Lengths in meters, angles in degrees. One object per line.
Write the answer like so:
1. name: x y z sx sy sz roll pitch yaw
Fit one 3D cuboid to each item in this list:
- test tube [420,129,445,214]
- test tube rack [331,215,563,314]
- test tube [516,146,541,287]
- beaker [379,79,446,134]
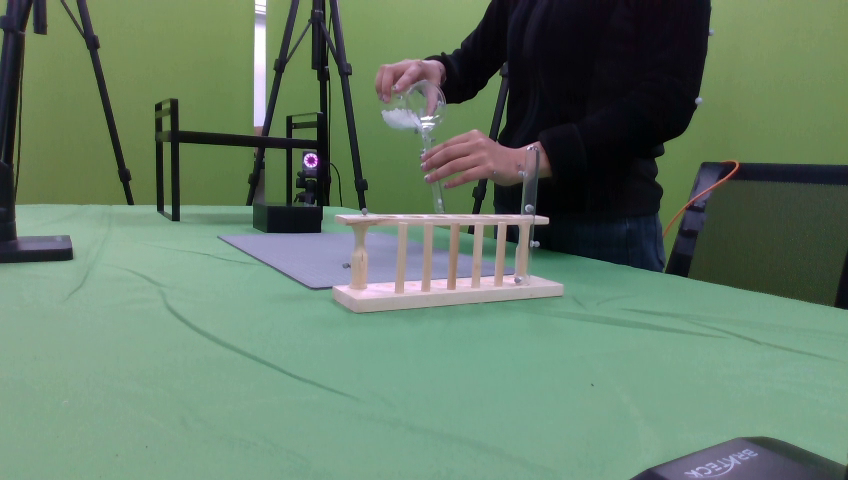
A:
1. test tube: 0.012 -0.105 0.913 0.017 0.150 0.017 -8 -27 -4
2. test tube rack: 0.031 0.019 0.625 0.243 0.085 0.066 -1 8 -28
3. test tube: 0.110 -0.024 0.638 0.017 0.150 0.017 4 6 0
4. beaker: -0.022 -0.213 0.980 0.074 0.084 0.100 -4 10 -31
